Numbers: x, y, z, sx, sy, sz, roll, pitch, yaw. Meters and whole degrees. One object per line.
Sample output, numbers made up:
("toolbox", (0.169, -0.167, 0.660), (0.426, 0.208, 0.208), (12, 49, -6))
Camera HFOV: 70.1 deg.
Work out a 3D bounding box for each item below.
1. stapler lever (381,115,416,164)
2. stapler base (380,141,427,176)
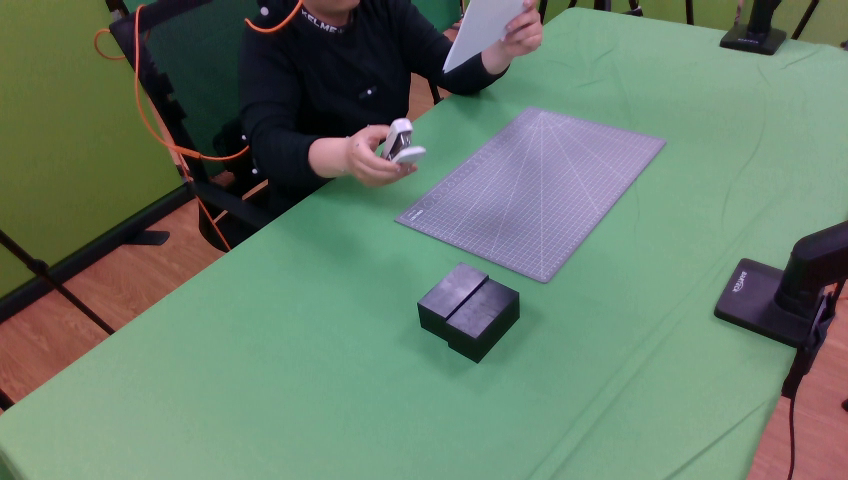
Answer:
("stapler lever", (-0.041, -0.152, 0.917), (0.027, 0.117, 0.040), (-10, 81, -21))
("stapler base", (-0.034, -0.128, 0.912), (0.041, 0.130, 0.024), (-10, 81, -21))
